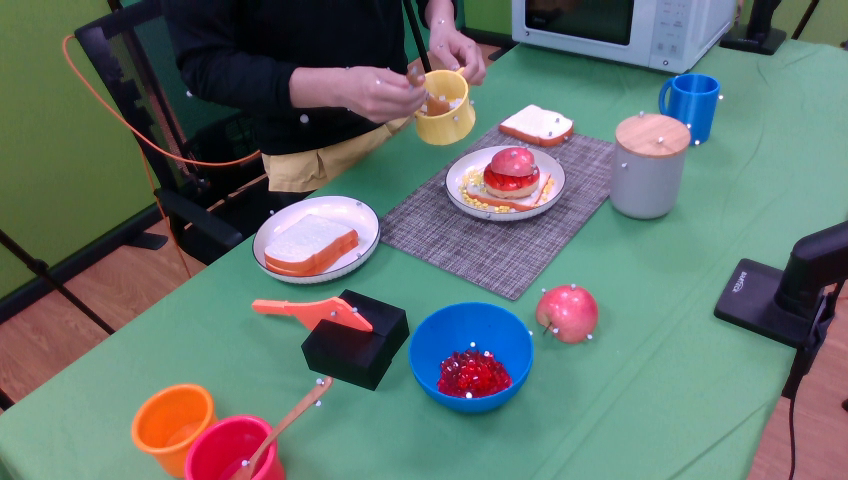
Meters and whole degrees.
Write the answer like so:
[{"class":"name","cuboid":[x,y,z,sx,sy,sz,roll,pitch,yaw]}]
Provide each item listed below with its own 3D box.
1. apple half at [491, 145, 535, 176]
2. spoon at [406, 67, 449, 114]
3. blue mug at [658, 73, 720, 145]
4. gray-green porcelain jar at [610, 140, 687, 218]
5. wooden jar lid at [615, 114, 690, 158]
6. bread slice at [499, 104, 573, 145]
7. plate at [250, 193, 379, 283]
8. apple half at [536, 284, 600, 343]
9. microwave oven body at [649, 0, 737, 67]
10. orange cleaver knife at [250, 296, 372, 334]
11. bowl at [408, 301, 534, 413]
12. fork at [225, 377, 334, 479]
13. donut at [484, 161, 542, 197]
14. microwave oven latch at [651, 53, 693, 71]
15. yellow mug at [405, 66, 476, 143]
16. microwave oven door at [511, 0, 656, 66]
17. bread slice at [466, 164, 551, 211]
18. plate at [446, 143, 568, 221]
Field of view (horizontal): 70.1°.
[{"class":"apple half","cuboid":[0.147,-0.138,0.994,0.081,0.033,0.081,0,37,0]},{"class":"spoon","cuboid":[0.002,-0.218,0.889,0.041,0.195,0.021,-27,77,11]},{"class":"blue mug","cuboid":[0.483,-0.250,1.127,0.082,0.106,0.115,-26,44,-19]},{"class":"gray-green porcelain jar","cuboid":[0.354,-0.106,0.964,0.106,0.127,0.105,-4,41,4]},{"class":"wooden jar lid","cuboid":[0.347,-0.155,0.923,0.108,0.021,0.108,-3,44,4]},{"class":"bread slice","cuboid":[0.231,-0.231,1.205,0.105,0.019,0.130,-37,47,-28]},{"class":"plate","cuboid":[-0.174,-0.001,0.984,0.209,0.038,0.208,-4,41,4]},{"class":"apple half","cuboid":[0.196,0.091,0.815,0.075,0.053,0.080,-22,42,-20]},{"class":"microwave oven body","cuboid":[0.475,-0.602,1.411,0.438,0.261,0.327,23,50,32]},{"class":"orange cleaver knife","cuboid":[-0.159,0.103,0.828,0.210,0.078,0.012,-4,43,39]},{"class":"bowl","cuboid":[0.059,0.156,0.739,0.151,0.077,0.150,-4,40,4]},{"class":"fork","cuboid":[-0.163,0.216,0.646,0.207,0.019,0.028,-49,42,16]},{"class":"donut","cuboid":[0.149,-0.109,1.016,0.099,0.048,0.098,-4,39,4]},{"class":"microwave oven latch","cuboid":[0.532,-0.386,1.301,0.078,0.029,0.030,27,52,34]},{"class":"yellow mug","cuboid":[0.036,-0.223,0.957,0.099,0.064,0.131,28,69,28]},{"class":"microwave oven door","cuboid":[0.350,-0.539,1.348,0.353,0.245,0.039,24,50,31]},{"class":"bread slice","cuboid":[0.141,-0.092,1.042,0.133,0.018,0.107,11,43,19]},{"class":"plate","cuboid":[0.142,-0.097,1.045,0.207,0.039,0.206,-4,40,4]}]
